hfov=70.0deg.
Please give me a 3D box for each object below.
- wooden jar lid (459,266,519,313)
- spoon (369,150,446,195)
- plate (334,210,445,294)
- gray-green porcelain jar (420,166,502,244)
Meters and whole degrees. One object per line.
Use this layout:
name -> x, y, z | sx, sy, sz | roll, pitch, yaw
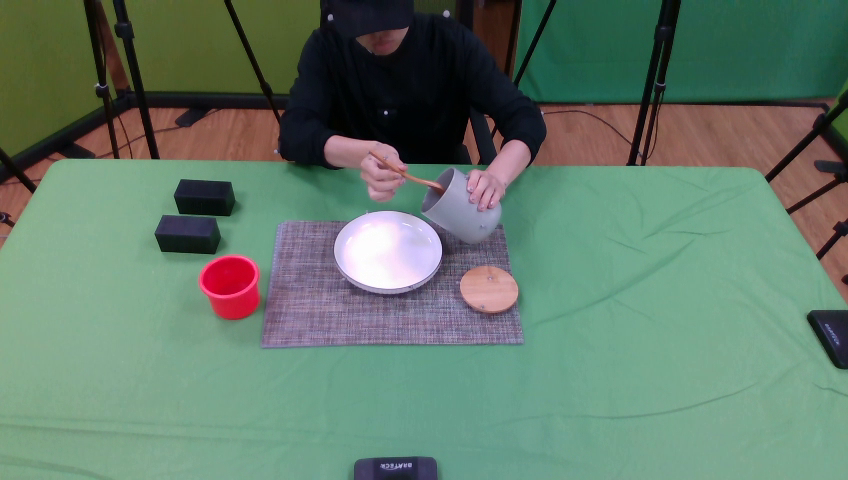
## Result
wooden jar lid -> 0.118, 0.093, 1.111 | 0.108, 0.021, 0.107 | 2, 47, -1
spoon -> -0.022, -0.115, 1.087 | 0.195, 0.021, 0.041 | 23, 1, -35
plate -> -0.066, 0.026, 1.150 | 0.208, 0.039, 0.206 | 2, 46, -2
gray-green porcelain jar -> 0.073, -0.061, 1.132 | 0.127, 0.106, 0.105 | 33, 43, -18
